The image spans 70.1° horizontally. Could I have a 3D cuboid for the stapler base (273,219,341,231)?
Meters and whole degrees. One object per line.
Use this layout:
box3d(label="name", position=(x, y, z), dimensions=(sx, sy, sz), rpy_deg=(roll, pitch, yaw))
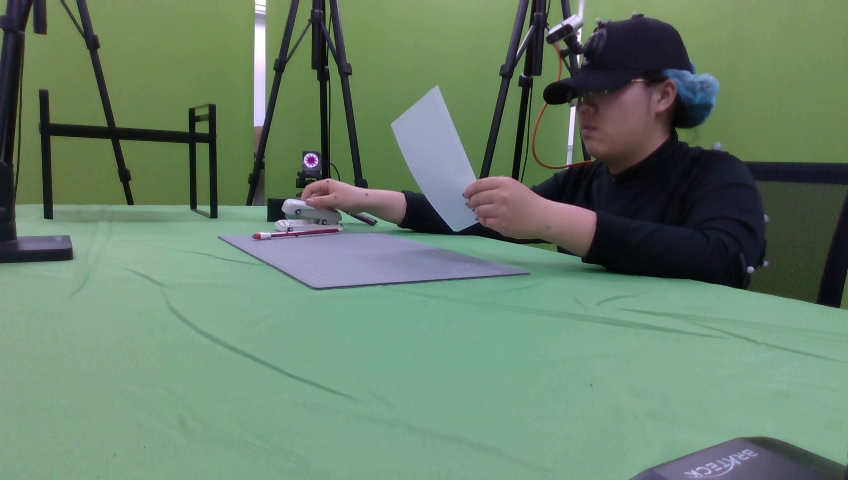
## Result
box3d(label="stapler base", position=(-0.224, -0.034, 1.169), dimensions=(0.131, 0.024, 0.041), rpy_deg=(0, 23, -34))

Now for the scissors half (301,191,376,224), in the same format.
box3d(label="scissors half", position=(-0.189, -0.073, 1.334), dimensions=(0.175, 0.013, 0.040), rpy_deg=(22, 12, -10))

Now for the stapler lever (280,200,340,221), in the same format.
box3d(label="stapler lever", position=(-0.218, -0.056, 1.163), dimensions=(0.119, 0.040, 0.026), rpy_deg=(-2, 24, -34))

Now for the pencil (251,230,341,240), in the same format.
box3d(label="pencil", position=(-0.215, -0.011, 1.049), dimensions=(0.012, 0.012, 0.195), rpy_deg=(9, 9, 39))

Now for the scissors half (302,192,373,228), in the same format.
box3d(label="scissors half", position=(-0.191, -0.068, 1.314), dimensions=(0.175, 0.013, 0.040), rpy_deg=(26, 17, 7))
